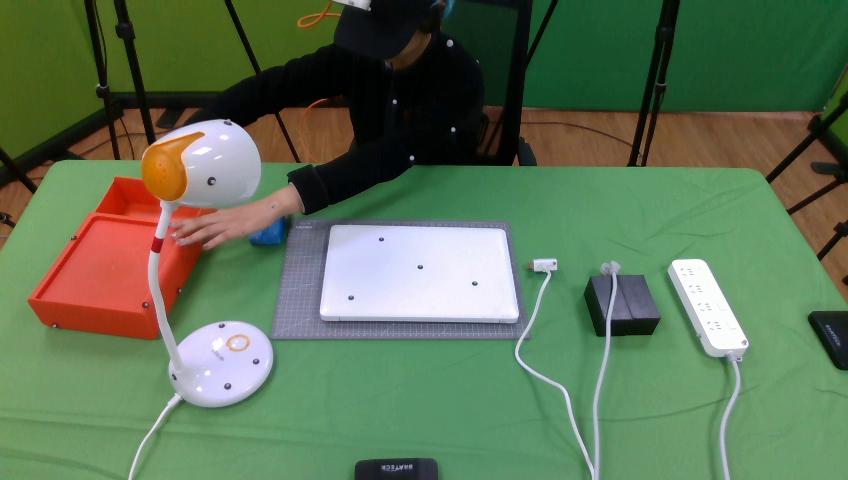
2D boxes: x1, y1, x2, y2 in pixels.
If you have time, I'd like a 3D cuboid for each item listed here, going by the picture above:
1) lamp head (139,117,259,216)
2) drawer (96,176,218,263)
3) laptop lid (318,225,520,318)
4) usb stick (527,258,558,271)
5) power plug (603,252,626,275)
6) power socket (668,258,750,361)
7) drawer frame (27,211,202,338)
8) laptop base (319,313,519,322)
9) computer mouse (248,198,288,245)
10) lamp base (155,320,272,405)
[{"bbox_3d":[-0.281,-0.086,0.734,0.112,0.113,0.123,21,25,16],"label":"lamp head"},{"bbox_3d":[-0.520,-0.021,1.140,0.194,0.073,0.210,6,46,1],"label":"drawer"},{"bbox_3d":[-0.009,0.052,1.131,0.357,0.013,0.240,2,43,-2],"label":"laptop lid"},{"bbox_3d":[0.226,0.046,1.158,0.059,0.021,0.027,-3,8,10],"label":"usb stick"},{"bbox_3d":[0.366,0.040,1.131,0.035,0.072,0.052,40,54,-10],"label":"power plug"},{"bbox_3d":[0.517,0.118,1.109,0.072,0.033,0.225,-2,46,-4],"label":"power socket"},{"bbox_3d":[-0.529,0.056,1.064,0.202,0.083,0.212,7,46,1],"label":"drawer frame"},{"bbox_3d":[-0.009,0.062,1.137,0.354,0.023,0.234,1,42,-3],"label":"laptop base"},{"bbox_3d":[-0.309,-0.040,1.205,0.063,0.041,0.116,3,49,-3],"label":"computer mouse"},{"bbox_3d":[-0.330,0.149,0.918,0.160,0.181,0.179,26,52,20],"label":"lamp base"}]
